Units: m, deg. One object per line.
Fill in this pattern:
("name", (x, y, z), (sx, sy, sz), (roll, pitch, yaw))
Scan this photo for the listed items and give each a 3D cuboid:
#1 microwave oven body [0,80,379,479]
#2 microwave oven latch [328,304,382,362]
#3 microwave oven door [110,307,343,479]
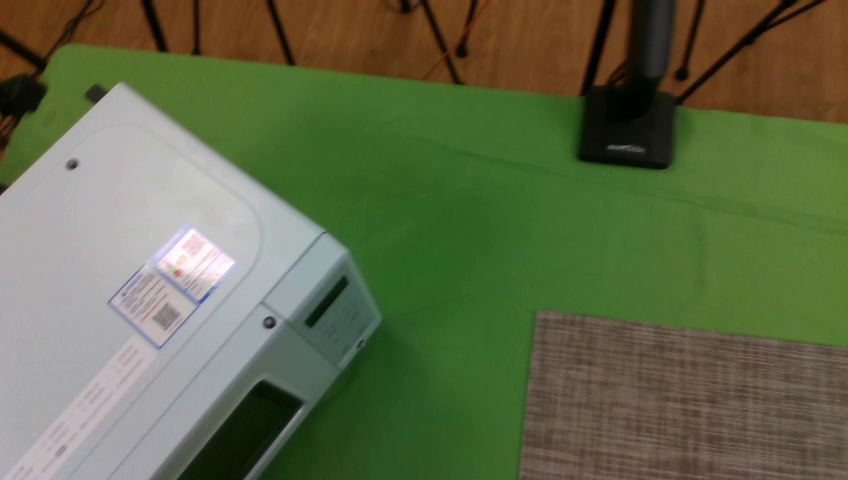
("microwave oven body", (-0.314, 0.124, 0.617), (0.324, 0.262, 0.441), (34, 76, 15))
("microwave oven latch", (-0.082, 0.104, 0.713), (0.030, 0.030, 0.079), (36, 76, 15))
("microwave oven door", (-0.223, 0.232, 0.564), (0.039, 0.245, 0.355), (34, 75, 16))
